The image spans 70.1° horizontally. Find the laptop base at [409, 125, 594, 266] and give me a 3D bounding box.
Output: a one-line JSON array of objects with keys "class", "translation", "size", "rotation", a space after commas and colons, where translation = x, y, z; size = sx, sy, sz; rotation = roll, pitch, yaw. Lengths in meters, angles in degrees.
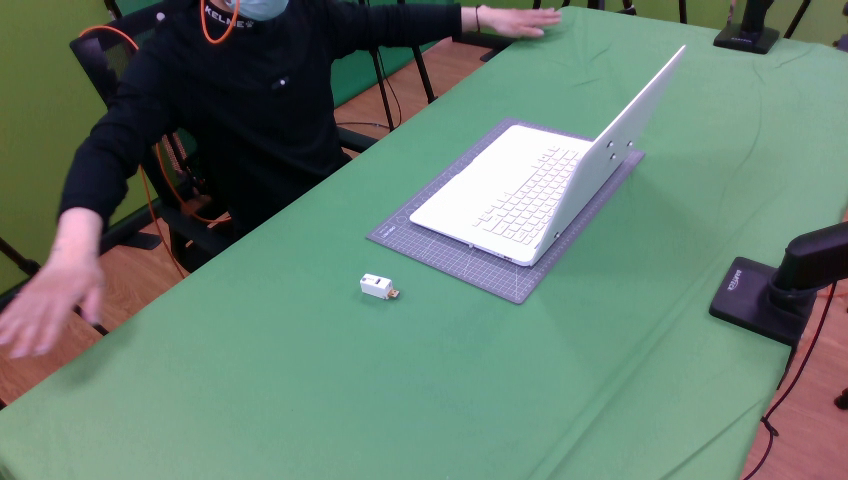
[{"class": "laptop base", "translation": [0.168, -0.093, 1.055], "size": [0.233, 0.023, 0.355], "rotation": [20, 47, 32]}]

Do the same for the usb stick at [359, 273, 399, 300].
[{"class": "usb stick", "translation": [-0.065, 0.071, 0.892], "size": [0.059, 0.027, 0.021], "rotation": [16, 44, 21]}]

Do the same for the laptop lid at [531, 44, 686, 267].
[{"class": "laptop lid", "translation": [0.279, -0.128, 0.906], "size": [0.013, 0.242, 0.357], "rotation": [34, 52, 17]}]
